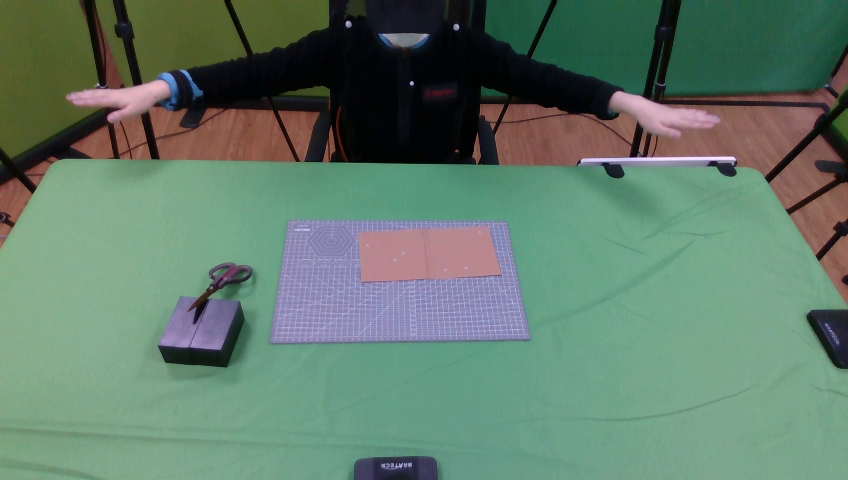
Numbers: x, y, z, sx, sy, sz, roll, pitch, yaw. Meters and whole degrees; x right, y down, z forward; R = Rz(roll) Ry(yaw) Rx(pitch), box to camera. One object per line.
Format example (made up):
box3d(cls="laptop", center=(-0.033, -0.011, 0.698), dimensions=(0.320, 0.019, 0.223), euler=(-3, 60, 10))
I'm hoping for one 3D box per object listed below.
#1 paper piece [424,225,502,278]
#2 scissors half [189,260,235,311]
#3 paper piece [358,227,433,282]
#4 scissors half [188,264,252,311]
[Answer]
box3d(cls="paper piece", center=(0.074, 0.020, 1.190), dimensions=(0.138, 0.009, 0.135), euler=(-2, 50, -7))
box3d(cls="scissors half", center=(-0.372, 0.077, 1.056), dimensions=(0.040, 0.013, 0.174), euler=(12, 25, -4))
box3d(cls="paper piece", center=(-0.058, 0.025, 1.173), dimensions=(0.136, 0.004, 0.134), euler=(-3, 48, -6))
box3d(cls="scissors half", center=(-0.353, 0.082, 1.055), dimensions=(0.040, 0.013, 0.175), euler=(15, 25, 14))
